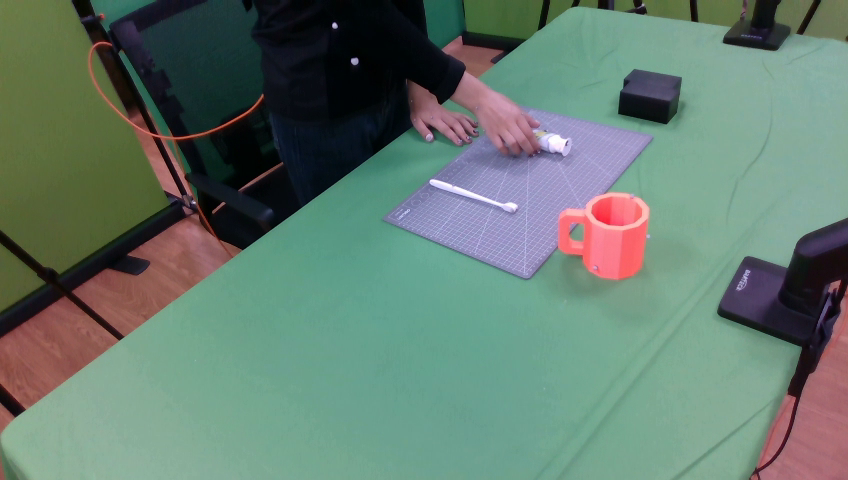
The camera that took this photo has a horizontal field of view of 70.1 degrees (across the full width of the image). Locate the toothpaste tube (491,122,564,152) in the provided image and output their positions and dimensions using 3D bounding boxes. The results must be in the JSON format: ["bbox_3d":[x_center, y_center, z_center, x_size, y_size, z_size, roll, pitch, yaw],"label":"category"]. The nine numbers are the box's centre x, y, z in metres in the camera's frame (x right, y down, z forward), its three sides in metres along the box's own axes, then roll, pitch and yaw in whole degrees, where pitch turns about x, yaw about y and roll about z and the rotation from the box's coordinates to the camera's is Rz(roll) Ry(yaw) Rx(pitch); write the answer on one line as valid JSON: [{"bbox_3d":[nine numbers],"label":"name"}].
[{"bbox_3d":[0.209,-0.202,1.174,0.055,0.034,0.163,-31,40,-33],"label":"toothpaste tube"}]

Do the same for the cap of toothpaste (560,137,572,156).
[{"bbox_3d":[0.263,-0.175,1.120,0.011,0.037,0.037,21,49,30],"label":"cap of toothpaste"}]

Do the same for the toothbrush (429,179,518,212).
[{"bbox_3d":[0.084,-0.081,1.062,0.180,0.014,0.017,20,45,30],"label":"toothbrush"}]

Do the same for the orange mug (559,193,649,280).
[{"bbox_3d":[0.261,-0.008,0.884,0.126,0.101,0.083,9,43,14],"label":"orange mug"}]
